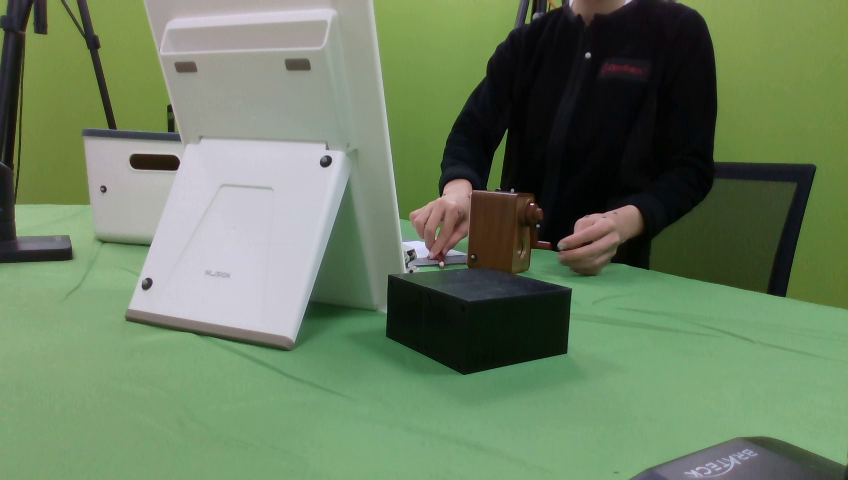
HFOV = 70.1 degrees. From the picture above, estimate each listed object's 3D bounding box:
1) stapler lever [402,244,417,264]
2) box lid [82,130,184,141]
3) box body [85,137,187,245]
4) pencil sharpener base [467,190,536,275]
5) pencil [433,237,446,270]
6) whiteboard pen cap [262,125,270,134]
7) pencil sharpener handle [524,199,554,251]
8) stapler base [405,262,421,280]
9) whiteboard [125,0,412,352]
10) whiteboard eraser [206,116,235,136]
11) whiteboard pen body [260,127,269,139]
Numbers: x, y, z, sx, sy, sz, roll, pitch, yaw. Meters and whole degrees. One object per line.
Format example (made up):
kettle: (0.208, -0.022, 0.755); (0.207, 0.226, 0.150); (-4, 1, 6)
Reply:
stapler lever: (-0.066, 0.003, 0.755); (0.117, 0.040, 0.027); (9, 13, 23)
box lid: (-0.337, -0.161, 1.011); (0.263, 0.015, 0.372); (4, 6, 11)
box body: (-0.340, -0.088, 1.022); (0.254, 0.160, 0.364); (4, 7, 11)
pencil sharpener base: (0.106, -0.011, 0.808); (0.076, 0.107, 0.061); (8, 8, 33)
pencil: (0.022, 0.018, 0.884); (0.012, 0.012, 0.194); (2, 12, -3)
whiteboard pen cap: (-0.349, -0.244, 1.336); (0.018, 0.018, 0.033); (0, 2, -17)
pencil sharpener handle: (0.151, -0.019, 0.782); (0.030, 0.068, 0.036); (8, 23, 33)
stapler base: (-0.069, 0.027, 0.759); (0.130, 0.024, 0.041); (9, 13, 23)
whiteboard: (-0.151, -0.049, 0.472); (0.216, 0.305, 0.144); (6, 27, 24)
whiteboard eraser: (-0.450, -0.252, 1.335); (0.056, 0.042, 0.112); (1, 7, -22)
whiteboard pen body: (-0.366, -0.247, 1.392); (0.017, 0.017, 0.140); (0, 3, -17)
